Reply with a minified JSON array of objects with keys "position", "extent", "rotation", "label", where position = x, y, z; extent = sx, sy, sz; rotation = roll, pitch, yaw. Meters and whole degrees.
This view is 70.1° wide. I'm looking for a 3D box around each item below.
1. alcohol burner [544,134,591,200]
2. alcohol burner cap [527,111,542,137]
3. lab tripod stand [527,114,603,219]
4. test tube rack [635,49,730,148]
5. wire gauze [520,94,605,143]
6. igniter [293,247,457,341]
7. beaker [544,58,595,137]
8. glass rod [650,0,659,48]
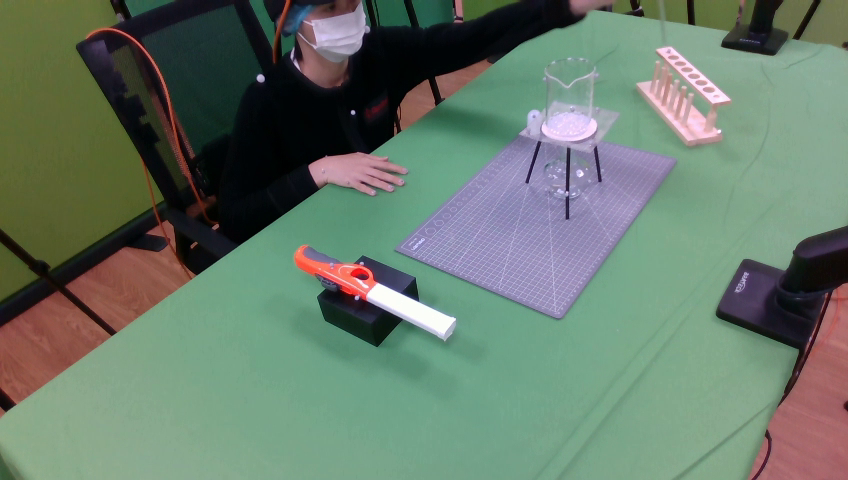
[{"position":[0.241,-0.127,1.014],"extent":[0.078,0.119,0.077],"rotation":[-5,42,5],"label":"alcohol burner"},{"position":[0.221,-0.233,1.200],"extent":[0.034,0.048,0.033],"rotation":[-6,41,6],"label":"alcohol burner cap"},{"position":[0.235,-0.129,1.002],"extent":[0.148,0.132,0.147],"rotation":[-6,40,6],"label":"lab tripod stand"},{"position":[0.497,-0.283,1.184],"extent":[0.067,0.085,0.240],"rotation":[-10,40,-2],"label":"test tube rack"},{"position":[0.219,-0.190,0.949],"extent":[0.121,0.011,0.125],"rotation":[7,46,14],"label":"wire gauze"},{"position":[-0.077,0.068,0.830],"extent":[0.274,0.025,0.057],"rotation":[22,48,27],"label":"igniter"},{"position":[0.222,-0.214,0.927],"extent":[0.074,0.101,0.084],"rotation":[3,42,16],"label":"beaker"},{"position":[0.375,-0.413,1.000],"extent":[0.008,0.201,0.008],"rotation":[-15,34,10],"label":"glass rod"}]
